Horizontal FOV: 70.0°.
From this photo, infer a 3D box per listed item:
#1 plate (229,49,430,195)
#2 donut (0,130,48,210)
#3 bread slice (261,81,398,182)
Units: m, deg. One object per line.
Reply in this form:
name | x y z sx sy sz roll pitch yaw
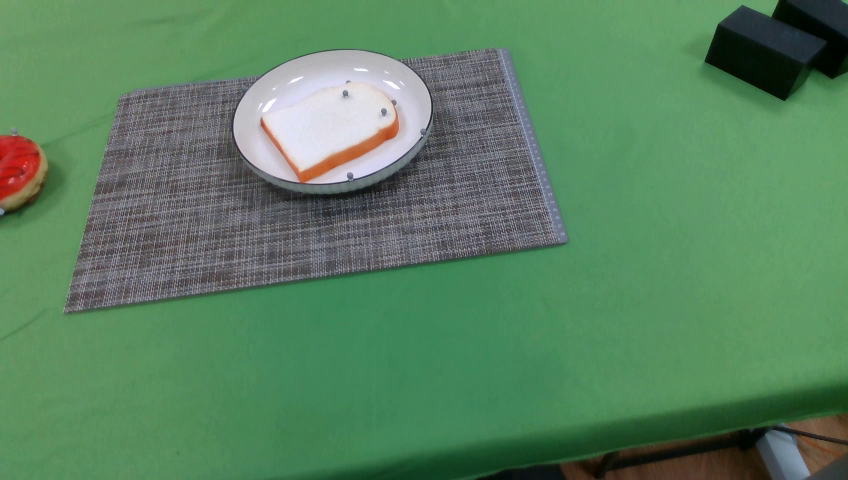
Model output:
plate | -0.097 -0.122 0.640 0.207 0.039 0.205 -1 53 2
donut | -0.439 -0.072 0.621 0.099 0.049 0.098 -3 54 4
bread slice | -0.097 -0.125 0.643 0.131 0.019 0.104 -29 58 -17
